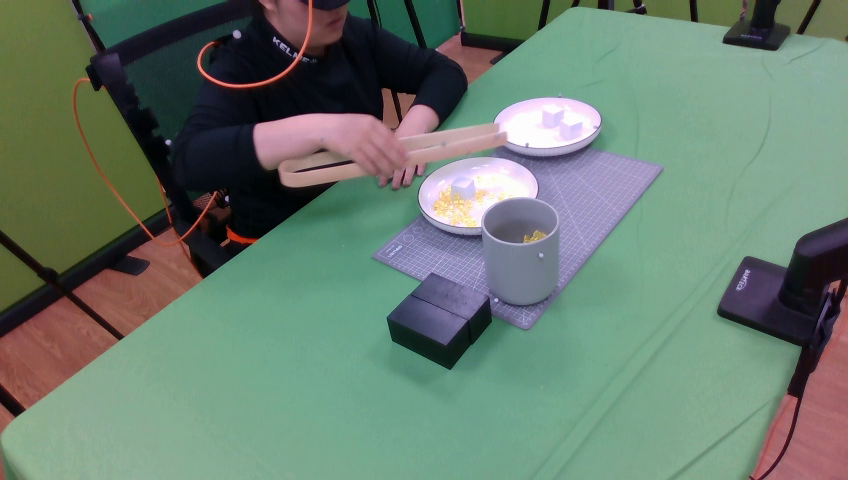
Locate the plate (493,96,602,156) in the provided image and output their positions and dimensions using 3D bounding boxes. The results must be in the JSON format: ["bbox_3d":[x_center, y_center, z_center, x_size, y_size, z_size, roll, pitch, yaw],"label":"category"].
[{"bbox_3d":[0.238,-0.218,1.179,0.209,0.038,0.208,-4,39,4],"label":"plate"}]

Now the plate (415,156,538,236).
[{"bbox_3d":[0.090,-0.072,1.034,0.207,0.039,0.206,-5,40,5],"label":"plate"}]

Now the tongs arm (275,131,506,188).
[{"bbox_3d":[-0.048,-0.139,0.999,0.386,0.026,0.050,-15,38,-15],"label":"tongs arm"}]

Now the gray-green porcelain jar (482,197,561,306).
[{"bbox_3d":[0.138,0.020,0.846,0.106,0.127,0.105,-5,40,5],"label":"gray-green porcelain jar"}]

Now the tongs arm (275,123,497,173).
[{"bbox_3d":[-0.056,-0.153,1.019,0.389,0.028,0.028,-13,41,-12],"label":"tongs arm"}]
